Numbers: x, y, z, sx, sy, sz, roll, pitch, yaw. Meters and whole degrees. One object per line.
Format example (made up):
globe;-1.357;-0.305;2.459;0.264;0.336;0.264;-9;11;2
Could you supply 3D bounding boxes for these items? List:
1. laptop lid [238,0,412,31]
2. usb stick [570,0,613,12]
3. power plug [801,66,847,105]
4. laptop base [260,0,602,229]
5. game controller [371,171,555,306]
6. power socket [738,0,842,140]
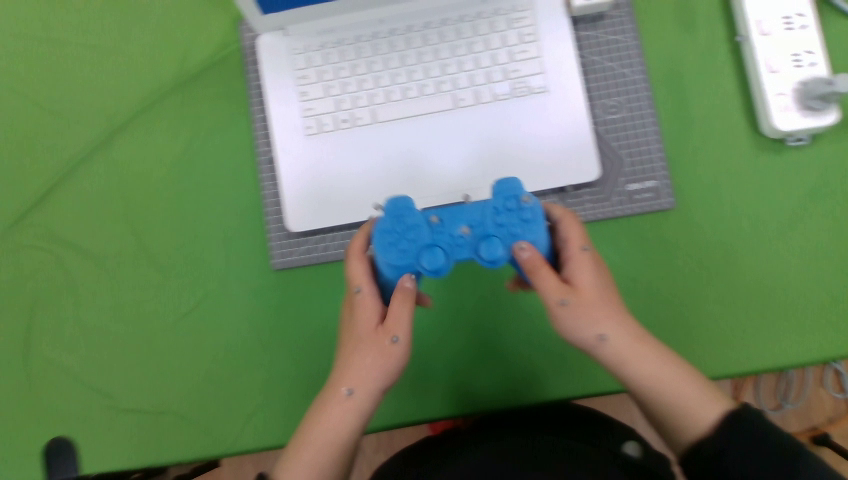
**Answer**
laptop lid;-0.032;-0.301;0.579;0.356;0.243;0.013;-11;74;5
usb stick;0.177;-0.268;0.665;0.059;0.027;0.021;-9;84;8
power plug;0.424;-0.155;0.618;0.072;0.053;0.035;4;83;1
laptop base;0.002;-0.155;0.680;0.354;0.023;0.235;-10;86;3
game controller;0.030;-0.002;0.510;0.155;0.051;0.097;-10;89;2
power socket;0.386;-0.222;0.648;0.072;0.033;0.226;-8;83;5
